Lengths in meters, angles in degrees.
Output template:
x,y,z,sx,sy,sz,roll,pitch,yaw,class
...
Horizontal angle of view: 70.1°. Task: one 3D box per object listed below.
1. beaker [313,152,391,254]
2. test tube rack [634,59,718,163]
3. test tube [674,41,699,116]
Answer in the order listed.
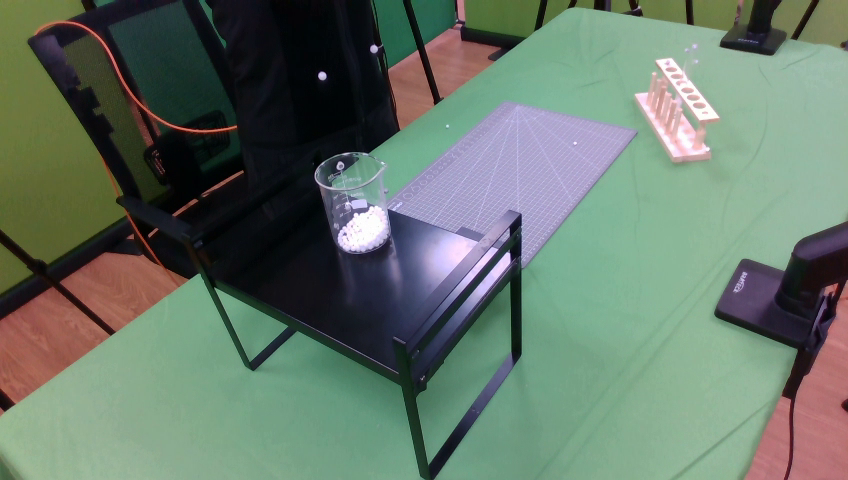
x,y,z,sx,sy,sz,roll,pitch,yaw,class
-0.076,-0.041,0.697,0.084,0.101,0.073,-15,41,-10,beaker
0.470,-0.250,1.148,0.067,0.085,0.241,-6,40,3,test tube rack
0.483,-0.297,1.123,0.017,0.151,0.017,-2,45,2,test tube
